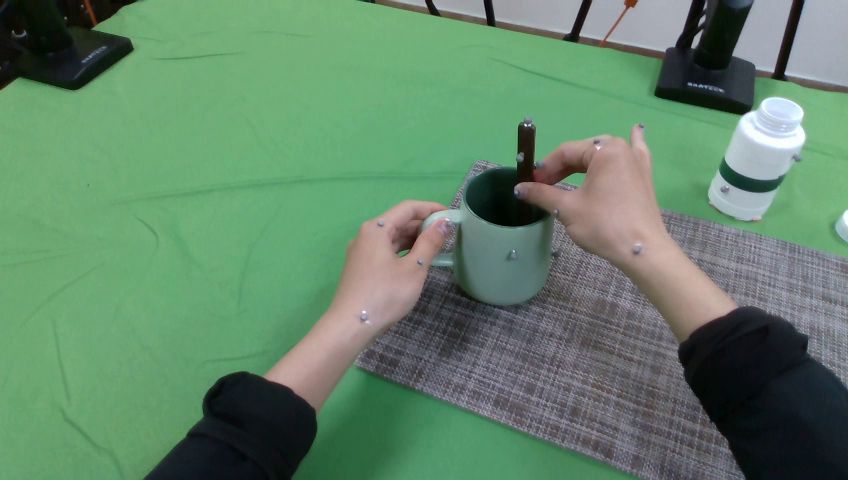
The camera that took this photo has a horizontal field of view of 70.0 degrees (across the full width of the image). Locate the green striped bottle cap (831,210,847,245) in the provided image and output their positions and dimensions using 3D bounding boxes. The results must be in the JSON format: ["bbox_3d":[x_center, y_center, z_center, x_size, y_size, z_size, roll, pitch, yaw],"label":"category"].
[{"bbox_3d":[0.446,-0.011,0.622,0.044,0.020,0.044,1,43,-1],"label":"green striped bottle cap"}]

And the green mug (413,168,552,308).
[{"bbox_3d":[0.052,0.002,0.545,0.125,0.106,0.091,-6,47,-5],"label":"green mug"}]

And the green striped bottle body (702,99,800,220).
[{"bbox_3d":[0.335,-0.083,0.618,0.063,0.120,0.062,0,47,0],"label":"green striped bottle body"}]

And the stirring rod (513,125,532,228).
[{"bbox_3d":[0.084,-0.035,0.522,0.014,0.178,0.006,15,60,17],"label":"stirring rod"}]
